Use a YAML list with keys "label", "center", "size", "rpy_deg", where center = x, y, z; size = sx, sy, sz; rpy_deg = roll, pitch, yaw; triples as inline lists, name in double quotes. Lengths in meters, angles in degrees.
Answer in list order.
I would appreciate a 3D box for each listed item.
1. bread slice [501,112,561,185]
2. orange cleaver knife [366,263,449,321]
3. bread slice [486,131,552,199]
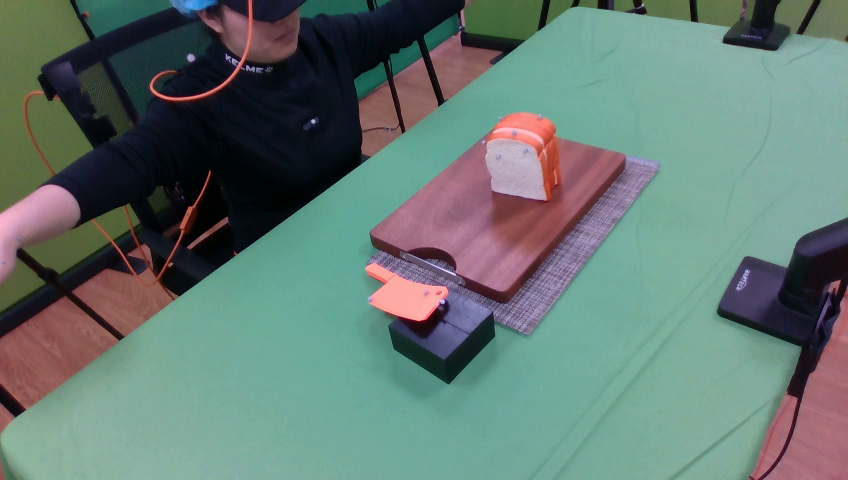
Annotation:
- label: "bread slice"
  center: [0.176, -0.150, 1.002]
  size: [0.106, 0.135, 0.018]
  rpy_deg: [16, 52, 23]
- label: "orange cleaver knife"
  center: [-0.042, 0.072, 0.870]
  size: [0.077, 0.012, 0.209]
  rpy_deg: [-37, 28, -23]
- label: "bread slice"
  center: [0.149, -0.119, 0.973]
  size: [0.104, 0.132, 0.019]
  rpy_deg: [11, 54, 27]
